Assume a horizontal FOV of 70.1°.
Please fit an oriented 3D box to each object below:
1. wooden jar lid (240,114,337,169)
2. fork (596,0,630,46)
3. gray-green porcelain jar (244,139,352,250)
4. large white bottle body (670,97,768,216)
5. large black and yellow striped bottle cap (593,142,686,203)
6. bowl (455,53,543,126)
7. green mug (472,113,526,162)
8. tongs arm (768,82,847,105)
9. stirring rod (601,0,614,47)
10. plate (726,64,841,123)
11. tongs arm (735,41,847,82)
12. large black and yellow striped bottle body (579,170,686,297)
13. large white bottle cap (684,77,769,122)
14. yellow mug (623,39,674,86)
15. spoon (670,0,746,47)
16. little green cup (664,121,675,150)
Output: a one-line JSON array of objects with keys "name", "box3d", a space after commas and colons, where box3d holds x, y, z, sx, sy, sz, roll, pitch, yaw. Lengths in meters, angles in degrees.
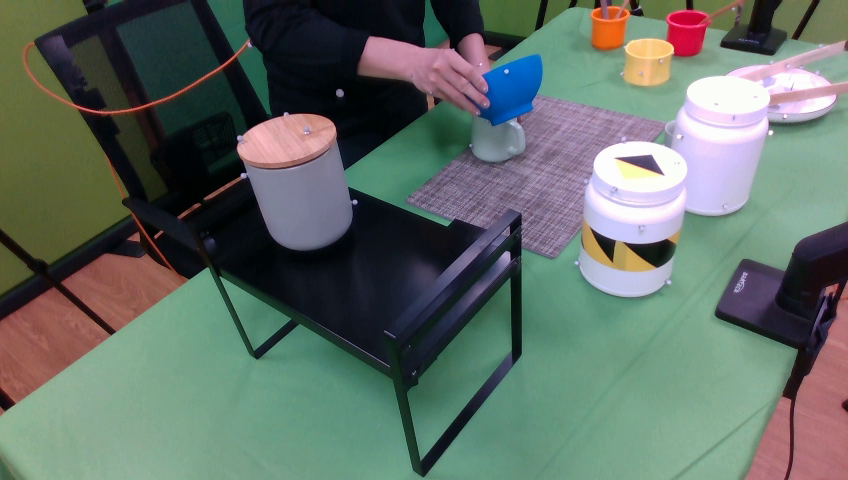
[{"name": "wooden jar lid", "box3d": [-0.149, -0.106, 0.673, 0.108, 0.021, 0.108, -6, 38, 5]}, {"name": "fork", "box3d": [0.481, -0.556, 1.453, 0.028, 0.019, 0.207, 40, 103, 38]}, {"name": "gray-green porcelain jar", "box3d": [-0.144, -0.060, 0.714, 0.106, 0.127, 0.105, -4, 41, 4]}, {"name": "large white bottle body", "box3d": [0.458, -0.146, 0.952, 0.130, 0.185, 0.130, -4, 40, 4]}, {"name": "large black and yellow striped bottle cap", "box3d": [0.280, -0.090, 0.786, 0.115, 0.019, 0.114, -5, 41, 5]}, {"name": "bowl", "box3d": [0.135, -0.240, 1.000, 0.151, 0.077, 0.151, -22, 5, 3]}, {"name": "green mug", "box3d": [0.144, -0.202, 1.122, 0.093, 0.105, 0.124, -28, 44, -23]}, {"name": "tongs arm", "box3d": [0.738, -0.282, 1.134, 0.388, 0.028, 0.028, -9, 46, -5]}, {"name": "stirring rod", "box3d": [0.439, -0.552, 1.463, 0.014, 0.006, 0.175, -7, 83, 3]}, {"name": "plate", "box3d": [0.695, -0.282, 1.189, 0.207, 0.039, 0.206, -4, 40, 4]}, {"name": "tongs arm", "box3d": [0.712, -0.332, 1.194, 0.386, 0.026, 0.050, -18, 44, -16]}, {"name": "large black and yellow striped bottle body", "box3d": [0.287, -0.027, 0.841, 0.131, 0.185, 0.130, -4, 41, 4]}, {"name": "large white bottle cap", "box3d": [0.448, -0.210, 0.898, 0.115, 0.018, 0.114, -4, 40, 4]}, {"name": "yellow mug", "box3d": [0.485, -0.398, 1.334, 0.100, 0.064, 0.130, -18, 40, -10]}, {"name": "spoon", "box3d": [0.629, -0.484, 1.350, 0.022, 0.193, 0.042, 48, 54, -7]}, {"name": "little green cup", "box3d": [0.472, -0.188, 1.113, 0.061, 0.039, 0.061, -5, 40, 5]}]
